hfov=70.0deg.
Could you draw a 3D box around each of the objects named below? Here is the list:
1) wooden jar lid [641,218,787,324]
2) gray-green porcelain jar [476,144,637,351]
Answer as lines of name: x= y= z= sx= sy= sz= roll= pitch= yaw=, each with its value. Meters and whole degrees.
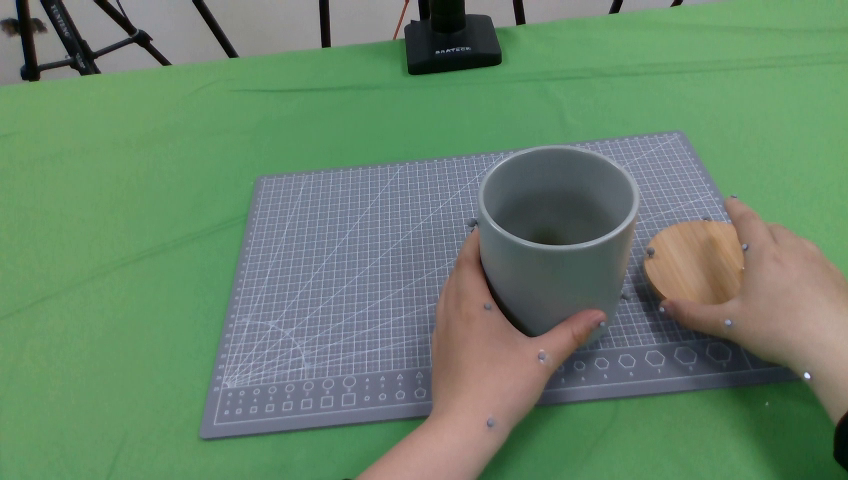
wooden jar lid: x=0.230 y=0.026 z=0.487 sx=0.108 sy=0.021 sz=0.107 roll=-4 pitch=44 yaw=4
gray-green porcelain jar: x=0.092 y=0.011 z=0.443 sx=0.106 sy=0.128 sz=0.105 roll=-4 pitch=46 yaw=4
